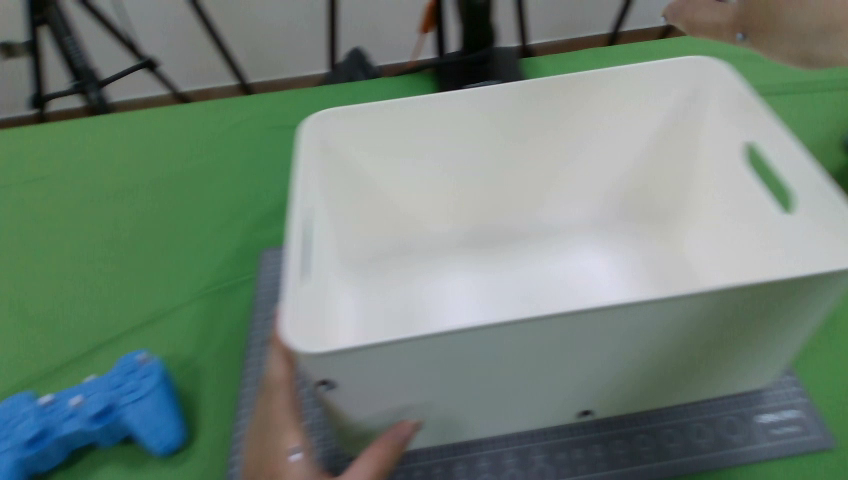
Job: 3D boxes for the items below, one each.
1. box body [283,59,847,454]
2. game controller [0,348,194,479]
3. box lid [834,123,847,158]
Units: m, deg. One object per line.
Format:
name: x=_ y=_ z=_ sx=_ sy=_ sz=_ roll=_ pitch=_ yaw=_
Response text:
box body: x=0.089 y=0.008 z=0.490 sx=0.364 sy=0.162 sz=0.251 roll=-9 pitch=45 yaw=-2
game controller: x=-0.271 y=0.144 z=0.485 sx=0.155 sy=0.052 sz=0.096 roll=-19 pitch=42 yaw=-13
box lid: x=0.609 y=-0.062 z=0.545 sx=0.263 sy=0.015 sz=0.367 roll=-30 pitch=49 yaw=-22
